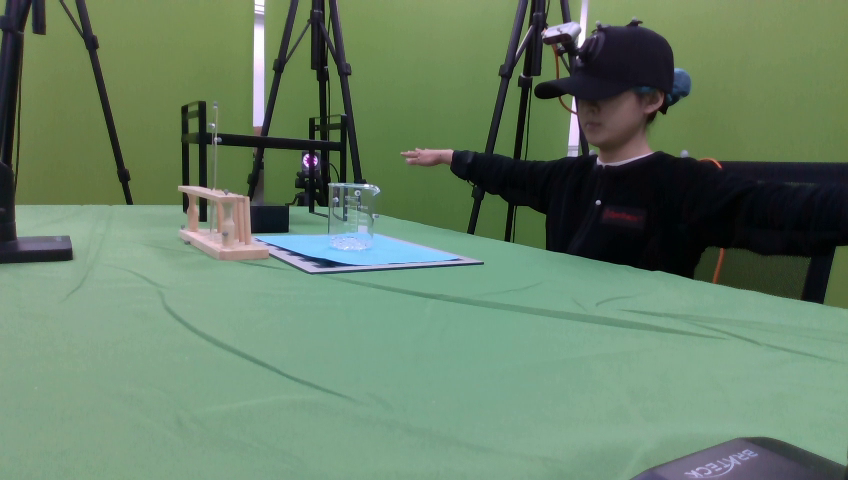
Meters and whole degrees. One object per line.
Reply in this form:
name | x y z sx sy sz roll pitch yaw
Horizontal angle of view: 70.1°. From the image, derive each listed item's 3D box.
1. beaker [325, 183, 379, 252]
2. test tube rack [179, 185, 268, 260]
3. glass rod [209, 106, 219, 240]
beaker | -0.109 -0.035 0.921 0.084 0.100 0.074 5 8 15
test tube rack | -0.303 -0.031 0.898 0.067 0.085 0.241 -2 9 -33
glass rod | -0.305 -0.096 0.878 0.008 0.199 0.008 2 0 0
